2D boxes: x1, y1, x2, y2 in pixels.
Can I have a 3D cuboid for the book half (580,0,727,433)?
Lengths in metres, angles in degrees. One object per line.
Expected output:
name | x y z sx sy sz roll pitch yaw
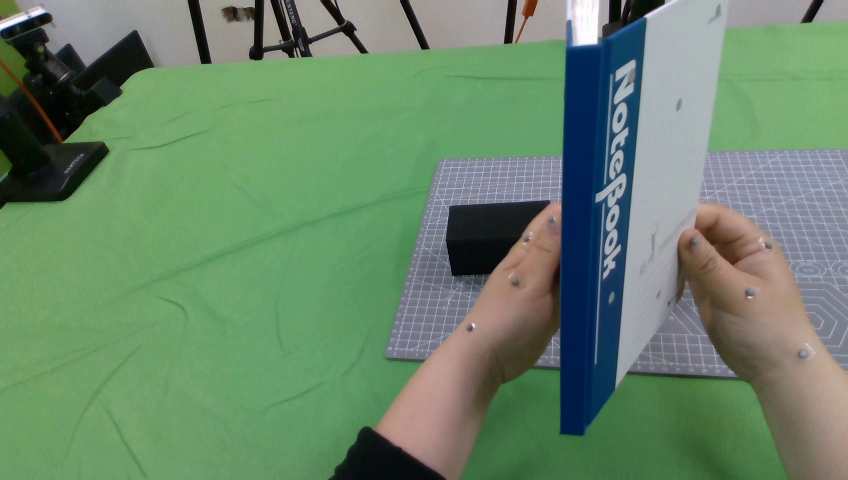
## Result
book half | 0.120 -0.015 0.319 0.007 0.212 0.143 19 41 36

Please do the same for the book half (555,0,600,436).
book half | 0.082 -0.018 0.333 0.016 0.212 0.147 1 33 14
